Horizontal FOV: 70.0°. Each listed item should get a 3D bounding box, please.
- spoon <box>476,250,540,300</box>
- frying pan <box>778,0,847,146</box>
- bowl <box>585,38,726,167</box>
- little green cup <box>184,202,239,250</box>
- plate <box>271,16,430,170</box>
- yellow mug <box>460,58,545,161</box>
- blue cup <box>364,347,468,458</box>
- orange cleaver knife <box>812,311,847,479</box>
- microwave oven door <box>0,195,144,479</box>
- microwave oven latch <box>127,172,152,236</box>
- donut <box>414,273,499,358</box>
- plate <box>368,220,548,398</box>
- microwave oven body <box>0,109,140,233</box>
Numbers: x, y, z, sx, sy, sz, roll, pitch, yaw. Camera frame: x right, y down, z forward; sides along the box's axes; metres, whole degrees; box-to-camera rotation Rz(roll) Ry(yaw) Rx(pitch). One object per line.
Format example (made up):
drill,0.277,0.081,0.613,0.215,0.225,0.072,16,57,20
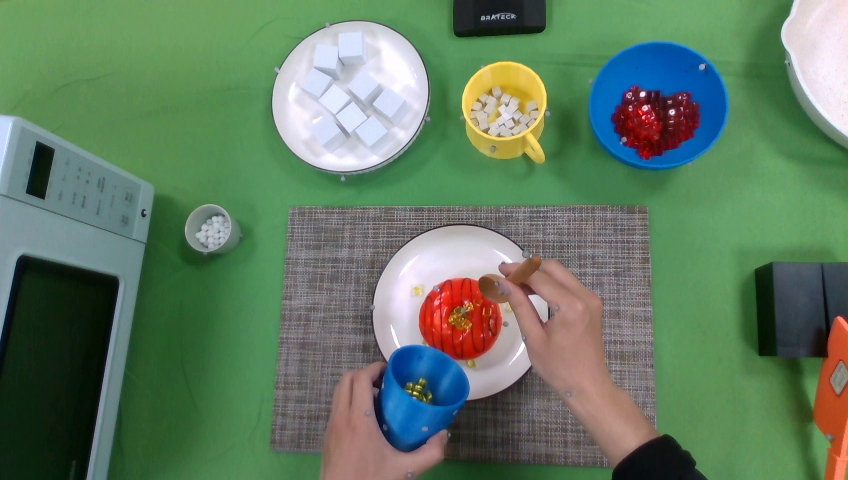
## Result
spoon,0.080,0.035,0.576,0.041,0.194,0.021,38,80,3
frying pan,0.538,-0.121,0.653,0.306,0.103,0.485,5,72,10
bowl,0.262,-0.149,0.711,0.151,0.077,0.151,-1,80,8
little green cup,-0.270,-0.015,0.778,0.061,0.039,0.061,-1,81,7
plate,-0.093,-0.188,0.787,0.207,0.039,0.206,-1,79,8
yellow mug,0.105,-0.150,0.738,0.100,0.064,0.130,-36,78,0
blue cup,-0.016,0.170,0.606,0.093,0.100,0.091,17,44,-17
orange cleaver knife,0.422,0.179,0.626,0.012,0.077,0.212,0,108,8
microwave oven door,-0.410,0.149,0.644,0.039,0.245,0.354,3,80,9
microwave oven latch,-0.374,-0.046,0.780,0.030,0.029,0.079,5,81,8
donut,0.038,0.087,0.703,0.099,0.048,0.098,-1,83,8
plate,0.039,0.080,0.715,0.209,0.038,0.208,-1,80,8
microwave oven body,-0.549,0.100,0.678,0.325,0.261,0.440,4,81,8
